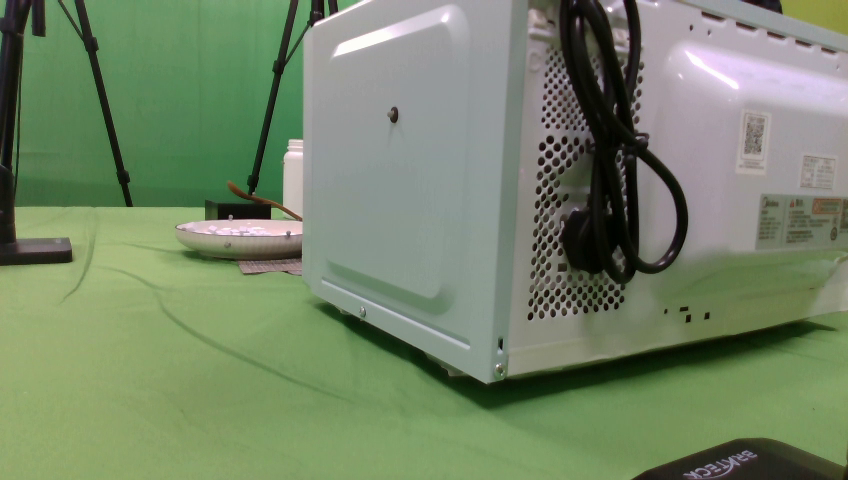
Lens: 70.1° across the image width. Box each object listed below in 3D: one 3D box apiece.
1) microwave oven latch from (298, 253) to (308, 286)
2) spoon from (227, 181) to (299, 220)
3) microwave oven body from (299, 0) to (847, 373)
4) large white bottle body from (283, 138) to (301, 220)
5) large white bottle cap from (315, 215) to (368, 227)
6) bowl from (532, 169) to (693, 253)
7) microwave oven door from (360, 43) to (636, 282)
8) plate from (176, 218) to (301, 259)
[{"bbox_3d":[-0.081,0.027,0.582,0.079,0.029,0.030,-1,7,-32],"label":"microwave oven latch"},{"bbox_3d":[-0.315,-0.074,1.235,0.195,0.021,0.041,24,-10,-37],"label":"spoon"},{"bbox_3d":[0.152,-0.055,0.542,0.444,0.260,0.324,-2,7,-33],"label":"microwave oven body"},{"bbox_3d":[-0.265,-0.143,1.423,0.131,0.184,0.130,2,7,0],"label":"large white bottle body"},{"bbox_3d":[-0.177,-0.041,1.309,0.115,0.018,0.115,2,6,0],"label":"large white bottle cap"},{"bbox_3d":[0.181,-0.030,0.596,0.151,0.077,0.151,1,6,0],"label":"bowl"},{"bbox_3d":[0.102,-0.082,0.700,0.358,0.243,0.039,-2,8,-27],"label":"microwave oven door"},{"bbox_3d":[-0.248,-0.003,0.877,0.209,0.038,0.209,1,8,0],"label":"plate"}]
